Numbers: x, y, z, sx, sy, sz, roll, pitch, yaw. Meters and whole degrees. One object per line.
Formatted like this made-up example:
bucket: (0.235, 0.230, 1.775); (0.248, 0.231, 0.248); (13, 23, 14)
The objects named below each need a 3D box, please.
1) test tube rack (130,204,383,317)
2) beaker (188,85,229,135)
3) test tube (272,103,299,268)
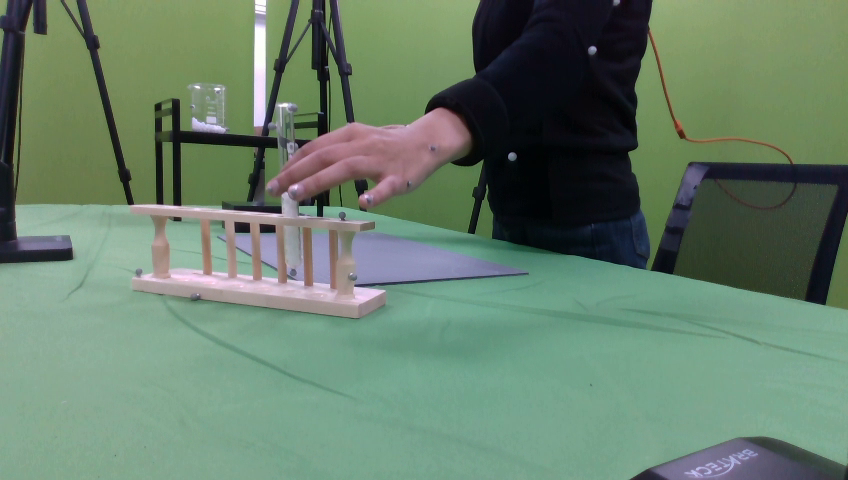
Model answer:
test tube rack: (-0.163, 0.014, 0.589); (0.242, 0.085, 0.067); (5, 8, 17)
beaker: (-0.457, -0.275, 1.283); (0.084, 0.100, 0.073); (-5, 9, -40)
test tube: (-0.126, -0.048, 0.551); (0.017, 0.150, 0.017); (-2, 9, 1)
